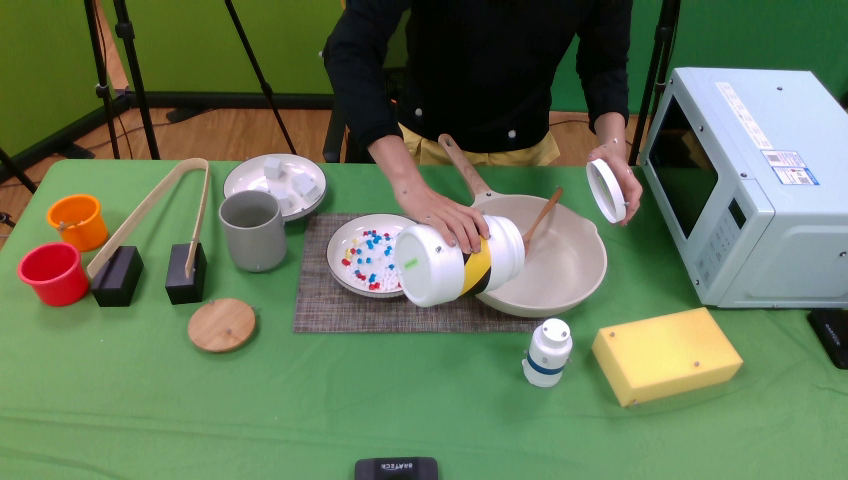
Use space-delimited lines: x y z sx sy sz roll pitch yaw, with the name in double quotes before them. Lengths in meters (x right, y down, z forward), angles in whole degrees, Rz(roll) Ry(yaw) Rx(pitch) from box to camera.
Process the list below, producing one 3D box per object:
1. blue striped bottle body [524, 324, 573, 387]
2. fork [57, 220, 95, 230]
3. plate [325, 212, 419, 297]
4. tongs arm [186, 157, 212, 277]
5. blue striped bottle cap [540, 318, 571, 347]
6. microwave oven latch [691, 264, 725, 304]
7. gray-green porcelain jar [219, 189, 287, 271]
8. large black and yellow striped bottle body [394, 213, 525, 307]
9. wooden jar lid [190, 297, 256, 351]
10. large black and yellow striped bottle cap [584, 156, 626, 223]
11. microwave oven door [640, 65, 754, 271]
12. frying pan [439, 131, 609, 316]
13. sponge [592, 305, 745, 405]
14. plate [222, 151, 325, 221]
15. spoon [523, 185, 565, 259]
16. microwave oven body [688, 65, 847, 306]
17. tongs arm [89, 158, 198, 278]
"blue striped bottle body" 0.200 0.178 0.970 0.063 0.121 0.062 2 46 -2
"fork" -0.624 -0.027 1.087 0.028 0.207 0.018 -3 92 -17
"plate" -0.080 0.030 1.143 0.209 0.038 0.208 3 46 -2
"tongs arm" -0.445 -0.058 1.168 0.051 0.026 0.382 -5 37 -6
"blue striped bottle cap" 0.203 0.142 0.933 0.044 0.021 0.044 3 49 -4
"microwave oven latch" 0.521 0.081 1.116 0.030 0.029 0.078 0 46 -3
"gray-green porcelain jar" -0.310 -0.014 1.113 0.106 0.127 0.105 2 46 -2
"large black and yellow striped bottle body" 0.059 0.027 0.976 0.184 0.131 0.130 -11 47 -29
"wooden jar lid" -0.342 0.145 1.033 0.108 0.021 0.107 2 45 -2
"large black and yellow striped bottle cap" 0.306 -0.086 1.029 0.019 0.115 0.114 -18 50 -6
"microwave oven door" 0.524 -0.148 1.193 0.039 0.245 0.353 0 47 -3
"frying pan" 0.149 -0.050 1.190 0.307 0.103 0.484 -17 58 -19
"sponge" 0.405 0.190 1.014 0.207 0.061 0.117 -10 48 -12
"plate" -0.310 -0.106 1.262 0.208 0.039 0.206 2 47 -2
"spoon" 0.226 -0.035 1.185 0.041 0.022 0.193 29 76 27
"microwave oven body" 0.669 -0.111 1.176 0.326 0.261 0.439 0 46 -3
"tongs arm" -0.529 -0.058 1.164 0.028 0.028 0.385 1 36 8
